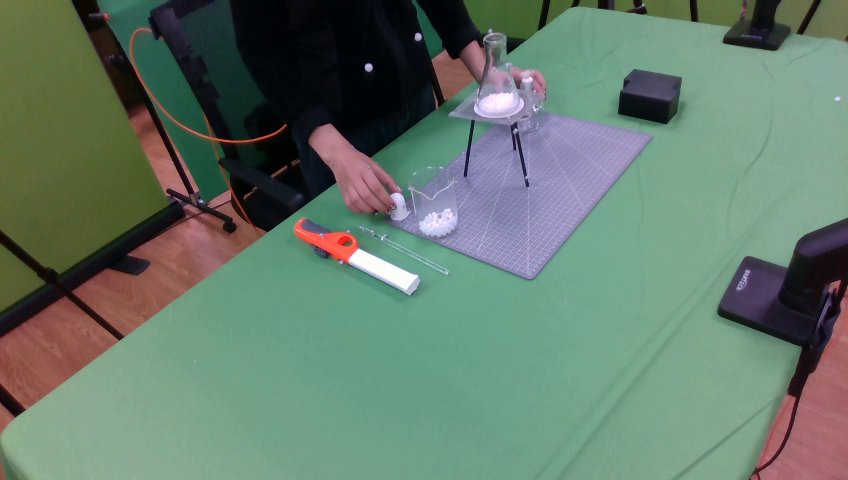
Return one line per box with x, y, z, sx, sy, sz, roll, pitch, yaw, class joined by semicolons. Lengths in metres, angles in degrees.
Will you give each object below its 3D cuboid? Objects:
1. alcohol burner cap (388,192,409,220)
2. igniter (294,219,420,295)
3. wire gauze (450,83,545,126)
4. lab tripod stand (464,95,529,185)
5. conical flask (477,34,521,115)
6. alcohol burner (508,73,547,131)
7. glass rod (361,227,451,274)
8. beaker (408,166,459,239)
-0.046;-0.061;1.044;0.034;0.048;0.033;-6;48;8;alcohol burner cap
-0.118;0.022;0.977;0.274;0.025;0.057;24;60;34;igniter
0.126;-0.232;1.041;0.120;0.011;0.125;17;48;31;wire gauze
0.138;-0.182;1.082;0.148;0.132;0.147;-6;38;5;lab tripod stand
0.121;-0.275;0.999;0.075;0.122;0.075;-5;40;5;conical flask
0.205;-0.277;1.197;0.078;0.119;0.077;-4;42;4;alcohol burner
-0.033;0.015;0.985;0.198;0.008;0.008;26;52;33;glass rod
0.018;-0.057;0.984;0.074;0.101;0.083;-6;41;5;beaker
